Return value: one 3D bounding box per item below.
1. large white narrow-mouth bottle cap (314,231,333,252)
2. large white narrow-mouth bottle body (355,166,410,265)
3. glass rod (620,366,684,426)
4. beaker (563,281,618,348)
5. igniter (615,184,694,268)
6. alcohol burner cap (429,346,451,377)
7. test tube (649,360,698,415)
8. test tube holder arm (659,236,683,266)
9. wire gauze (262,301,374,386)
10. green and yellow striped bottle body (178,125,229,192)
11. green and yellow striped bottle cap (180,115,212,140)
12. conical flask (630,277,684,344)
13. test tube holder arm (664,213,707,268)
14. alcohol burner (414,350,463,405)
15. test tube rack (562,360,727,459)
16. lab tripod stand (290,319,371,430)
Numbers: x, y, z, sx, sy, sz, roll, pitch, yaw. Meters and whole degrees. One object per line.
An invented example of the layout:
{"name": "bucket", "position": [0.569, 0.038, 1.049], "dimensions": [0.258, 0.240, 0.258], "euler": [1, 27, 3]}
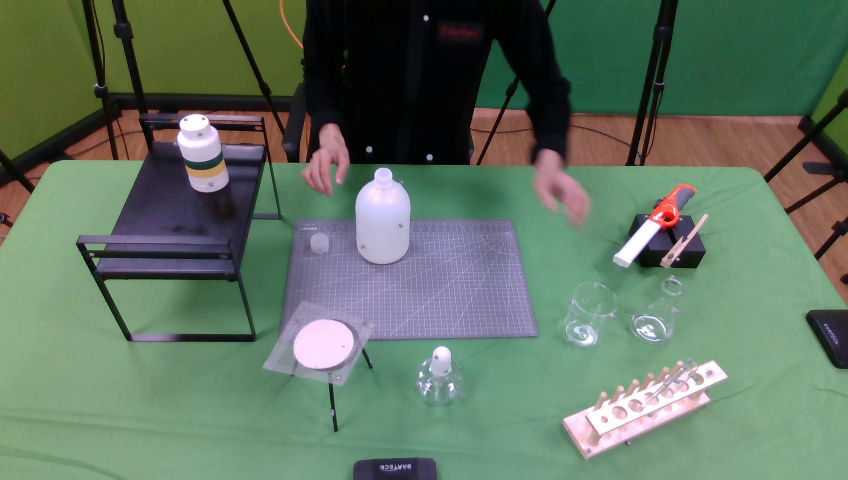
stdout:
{"name": "large white narrow-mouth bottle cap", "position": [-0.195, 0.003, 1.178], "dimensions": [0.038, 0.024, 0.037], "euler": [2, 45, -2]}
{"name": "large white narrow-mouth bottle body", "position": [-0.076, -0.051, 1.119], "dimensions": [0.102, 0.195, 0.101], "euler": [2, 44, -2]}
{"name": "glass rod", "position": [0.323, 0.227, 0.866], "dimensions": [0.008, 0.200, 0.008], "euler": [5, 51, -7]}
{"name": "beaker", "position": [0.283, 0.129, 1.041], "dimensions": [0.074, 0.101, 0.083], "euler": [11, 46, 7]}
{"name": "igniter", "position": [0.459, -0.035, 1.197], "dimensions": [0.057, 0.025, 0.276], "euler": [32, 55, 27]}
{"name": "alcohol burner cap", "position": [0.026, 0.180, 0.912], "dimensions": [0.034, 0.048, 0.033], "euler": [1, 47, -1]}
{"name": "test tube", "position": [0.365, 0.222, 0.898], "dimensions": [0.017, 0.151, 0.017], "euler": [4, 49, -5]}
{"name": "test tube holder arm", "position": [0.472, 0.020, 1.149], "dimensions": [0.010, 0.015, 0.088], "euler": [35, 54, 27]}
{"name": "wire gauze", "position": [-0.150, 0.148, 0.873], "dimensions": [0.121, 0.011, 0.124], "euler": [14, 46, 12]}
{"name": "green and yellow striped bottle body", "position": [-0.361, -0.142, 0.989], "dimensions": [0.063, 0.120, 0.063], "euler": [2, 46, -2]}
{"name": "green and yellow striped bottle cap", "position": [-0.358, -0.177, 0.951], "dimensions": [0.045, 0.020, 0.045], "euler": [2, 45, -2]}
{"name": "conical flask", "position": [0.409, 0.117, 1.045], "dimensions": [0.075, 0.122, 0.075], "euler": [2, 46, -2]}
{"name": "test tube holder arm", "position": [0.507, -0.001, 1.171], "dimensions": [0.013, 0.015, 0.178], "euler": [33, 53, 26]}
{"name": "alcohol burner", "position": [0.023, 0.205, 0.939], "dimensions": [0.078, 0.120, 0.077], "euler": [1, 48, -1]}
{"name": "test tube rack", "position": [0.341, 0.247, 0.940], "dimensions": [0.243, 0.085, 0.066], "euler": [-16, 49, -18]}
{"name": "lab tripod stand", "position": [-0.146, 0.193, 0.923], "dimensions": [0.148, 0.132, 0.147], "euler": [1, 47, -1]}
